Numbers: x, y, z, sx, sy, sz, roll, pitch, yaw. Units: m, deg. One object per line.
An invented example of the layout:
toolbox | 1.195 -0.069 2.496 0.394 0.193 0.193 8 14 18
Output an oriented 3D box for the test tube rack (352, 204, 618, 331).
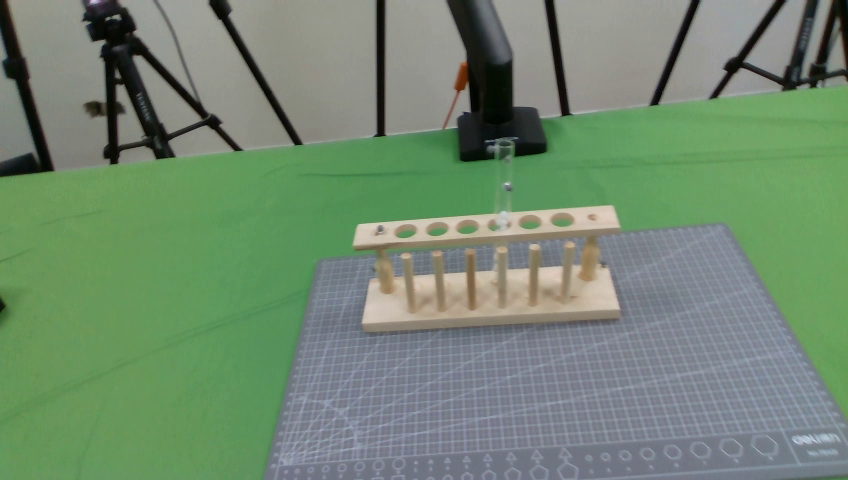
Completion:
test tube rack | 0.057 0.027 0.575 0.242 0.086 0.066 -4 38 6

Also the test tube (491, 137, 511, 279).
test tube | 0.070 -0.024 0.557 0.017 0.151 0.017 -2 35 2
